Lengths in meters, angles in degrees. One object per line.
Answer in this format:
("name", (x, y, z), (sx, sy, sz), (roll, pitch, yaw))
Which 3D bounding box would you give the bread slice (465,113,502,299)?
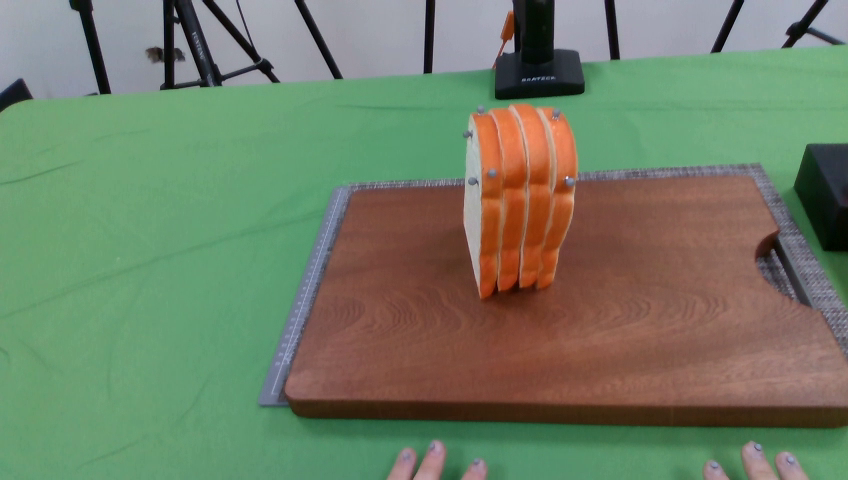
("bread slice", (0.048, -0.036, 0.503), (0.018, 0.135, 0.106), (-4, 37, -2))

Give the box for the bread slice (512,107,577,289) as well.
("bread slice", (0.098, -0.040, 0.499), (0.019, 0.132, 0.104), (-1, 42, -6))
